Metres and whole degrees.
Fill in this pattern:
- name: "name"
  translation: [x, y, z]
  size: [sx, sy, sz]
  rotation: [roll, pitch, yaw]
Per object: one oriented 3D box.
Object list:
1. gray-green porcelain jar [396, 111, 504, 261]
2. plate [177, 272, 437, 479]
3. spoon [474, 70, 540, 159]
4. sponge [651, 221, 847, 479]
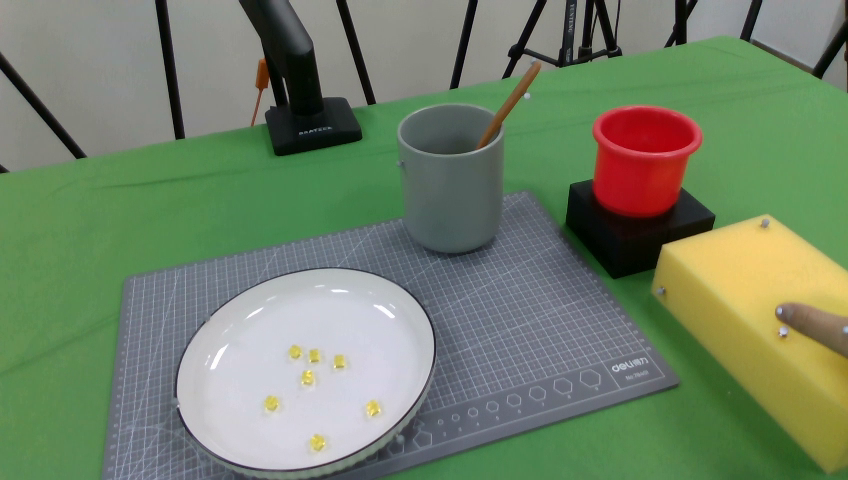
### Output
- name: "gray-green porcelain jar"
  translation: [0.028, -0.051, 0.619]
  size: [0.106, 0.127, 0.105]
  rotation: [-2, 39, 2]
- name: "plate"
  translation: [-0.092, 0.108, 0.501]
  size: [0.207, 0.039, 0.205]
  rotation: [-2, 39, 2]
- name: "spoon"
  translation: [0.057, -0.080, 0.594]
  size: [0.022, 0.194, 0.041]
  rotation: [20, 30, -15]
- name: "sponge"
  translation: [0.304, 0.076, 0.497]
  size: [0.118, 0.061, 0.204]
  rotation: [-16, 40, -15]
